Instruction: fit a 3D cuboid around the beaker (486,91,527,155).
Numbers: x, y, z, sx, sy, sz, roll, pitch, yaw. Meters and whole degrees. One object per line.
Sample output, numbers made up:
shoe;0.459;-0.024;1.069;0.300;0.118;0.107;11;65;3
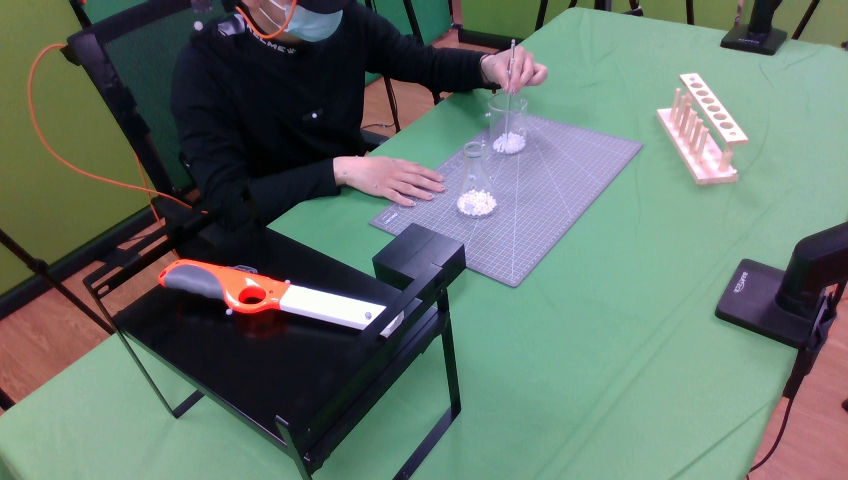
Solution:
beaker;0.159;-0.218;1.142;0.074;0.101;0.083;-20;43;-14

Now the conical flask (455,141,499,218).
conical flask;0.085;-0.103;0.999;0.075;0.122;0.075;-4;40;4

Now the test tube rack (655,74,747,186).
test tube rack;0.491;-0.205;1.092;0.067;0.085;0.241;-5;40;3

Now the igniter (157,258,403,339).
igniter;-0.157;0.059;0.638;0.275;0.025;0.057;11;43;14

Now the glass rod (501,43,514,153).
glass rod;0.155;-0.259;1.118;0.008;0.200;0.008;2;23;0
